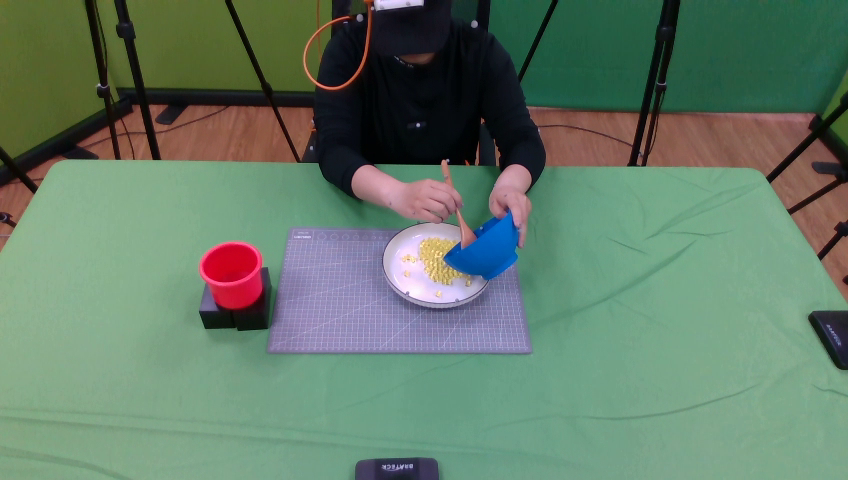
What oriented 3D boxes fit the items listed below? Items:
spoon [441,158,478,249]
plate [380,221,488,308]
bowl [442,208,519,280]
[{"bbox_3d":[0.062,-0.054,1.094,0.041,0.021,0.193,-20,92,-22],"label":"spoon"},{"bbox_3d":[0.022,0.049,1.138,0.208,0.039,0.206,2,46,-2],"label":"plate"},{"bbox_3d":[0.115,0.018,1.070,0.151,0.151,0.077,-40,95,-33],"label":"bowl"}]
